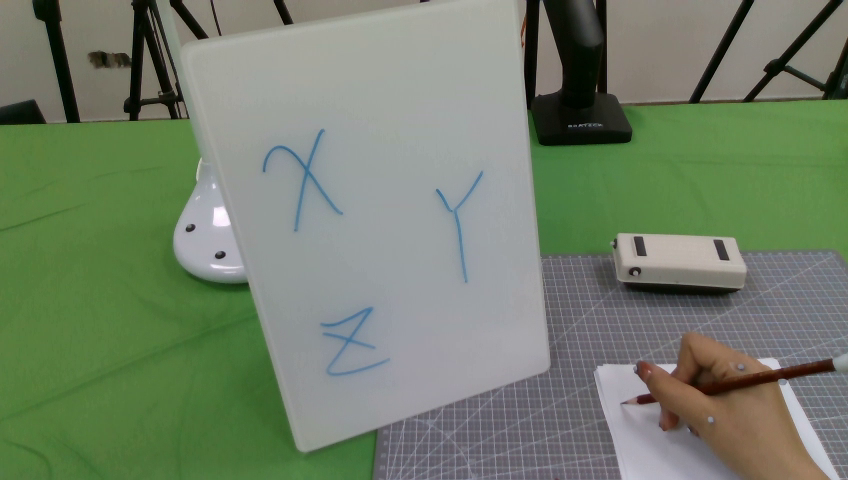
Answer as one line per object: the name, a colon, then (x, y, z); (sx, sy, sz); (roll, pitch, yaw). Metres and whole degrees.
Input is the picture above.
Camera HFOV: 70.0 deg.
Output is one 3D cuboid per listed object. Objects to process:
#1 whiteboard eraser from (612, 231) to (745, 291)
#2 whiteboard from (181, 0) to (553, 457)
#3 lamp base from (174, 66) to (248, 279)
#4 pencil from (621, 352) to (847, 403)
whiteboard eraser: (0.241, 0.021, 0.579); (0.112, 0.042, 0.055); (3, 42, 7)
whiteboard: (-0.035, -0.022, 0.491); (0.217, 0.307, 0.142); (-15, 22, -12)
lamp base: (-0.202, -0.077, 0.619); (0.177, 0.182, 0.160); (28, 49, 35)
pencil: (0.208, 0.096, 0.409); (0.012, 0.194, 0.012); (14, 62, -29)
